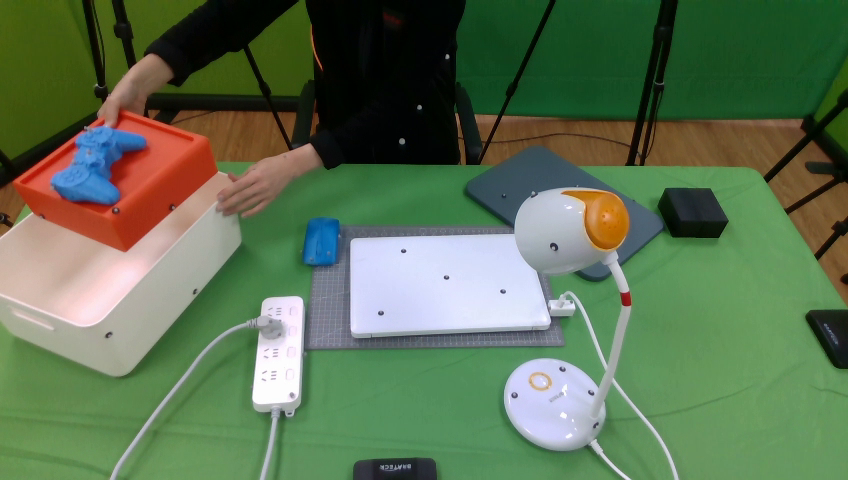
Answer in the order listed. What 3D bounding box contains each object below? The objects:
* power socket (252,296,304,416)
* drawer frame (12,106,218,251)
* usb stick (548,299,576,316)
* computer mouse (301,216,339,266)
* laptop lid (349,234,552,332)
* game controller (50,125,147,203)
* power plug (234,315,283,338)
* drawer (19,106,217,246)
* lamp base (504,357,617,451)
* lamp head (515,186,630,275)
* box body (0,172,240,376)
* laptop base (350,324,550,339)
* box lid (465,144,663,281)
[{"bbox_3d":[-0.238,0.181,0.997,0.072,0.033,0.225,-3,47,-5],"label":"power socket"},{"bbox_3d":[-0.478,-0.105,0.959,0.201,0.083,0.213,19,50,16],"label":"drawer frame"},{"bbox_3d":[0.239,0.121,1.083,0.059,0.027,0.021,-1,50,-2],"label":"usb stick"},{"bbox_3d":[-0.200,-0.002,1.169,0.063,0.041,0.116,4,50,-4],"label":"computer mouse"},{"bbox_3d":[0.039,0.071,1.118,0.357,0.013,0.240,0,44,-5],"label":"laptop lid"},{"bbox_3d":[-0.485,-0.119,0.902,0.097,0.052,0.154,-3,46,3],"label":"game controller"},{"bbox_3d":[-0.270,0.143,0.999,0.072,0.053,0.035,5,46,2],"label":"power plug"},{"bbox_3d":[-0.477,-0.107,0.962,0.194,0.073,0.211,20,50,14],"label":"drawer"},{"bbox_3d":[0.220,0.211,0.903,0.160,0.181,0.178,-32,59,-30],"label":"lamp base"},{"bbox_3d":[0.188,-0.013,0.728,0.112,0.112,0.122,-25,9,-25],"label":"lamp head"},{"bbox_3d":[-0.516,0.026,1.034,0.254,0.161,0.362,17,47,12],"label":"box body"},{"bbox_3d":[0.039,0.081,1.124,0.355,0.023,0.234,-2,43,-6],"label":"laptop base"},{"bbox_3d":[0.297,-0.072,1.298,0.263,0.015,0.369,-33,56,-31],"label":"box lid"}]
